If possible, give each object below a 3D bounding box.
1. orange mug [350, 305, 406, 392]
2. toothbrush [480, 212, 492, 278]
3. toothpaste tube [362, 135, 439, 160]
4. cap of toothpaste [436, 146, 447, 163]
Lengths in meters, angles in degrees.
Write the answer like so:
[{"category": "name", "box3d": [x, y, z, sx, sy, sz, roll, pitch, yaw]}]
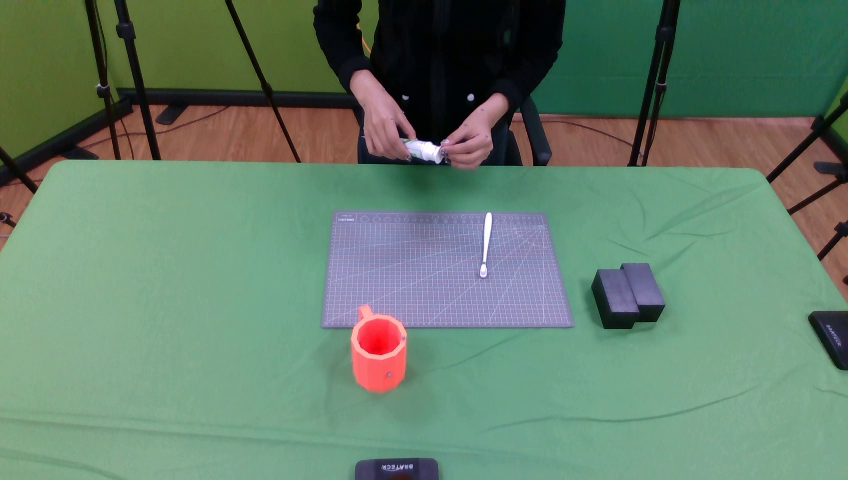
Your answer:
[{"category": "orange mug", "box3d": [-0.080, 0.168, 0.978, 0.083, 0.101, 0.125, -16, 54, -18]}, {"category": "toothbrush", "box3d": [0.124, 0.004, 1.202, 0.014, 0.017, 0.181, -2, 43, 13]}, {"category": "toothpaste tube", "box3d": [-0.039, -0.181, 1.149, 0.164, 0.034, 0.055, 18, 6, 32]}, {"category": "cap of toothpaste", "box3d": [0.031, -0.157, 1.105, 0.011, 0.037, 0.037, 27, 49, 0]}]
